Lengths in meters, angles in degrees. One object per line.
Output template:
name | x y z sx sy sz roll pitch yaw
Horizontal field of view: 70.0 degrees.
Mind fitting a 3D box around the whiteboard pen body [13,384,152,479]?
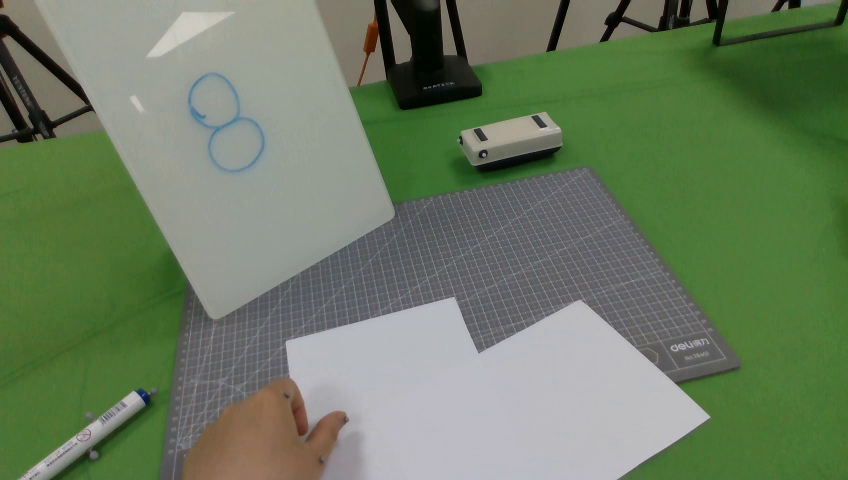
whiteboard pen body | -0.268 0.159 0.455 0.017 0.017 0.140 24 48 31

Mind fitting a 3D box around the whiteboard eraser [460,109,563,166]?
whiteboard eraser | 0.102 -0.119 0.715 0.113 0.042 0.055 -13 43 -9

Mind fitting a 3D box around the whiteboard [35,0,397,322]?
whiteboard | -0.195 -0.118 0.597 0.217 0.308 0.142 -32 26 -26
